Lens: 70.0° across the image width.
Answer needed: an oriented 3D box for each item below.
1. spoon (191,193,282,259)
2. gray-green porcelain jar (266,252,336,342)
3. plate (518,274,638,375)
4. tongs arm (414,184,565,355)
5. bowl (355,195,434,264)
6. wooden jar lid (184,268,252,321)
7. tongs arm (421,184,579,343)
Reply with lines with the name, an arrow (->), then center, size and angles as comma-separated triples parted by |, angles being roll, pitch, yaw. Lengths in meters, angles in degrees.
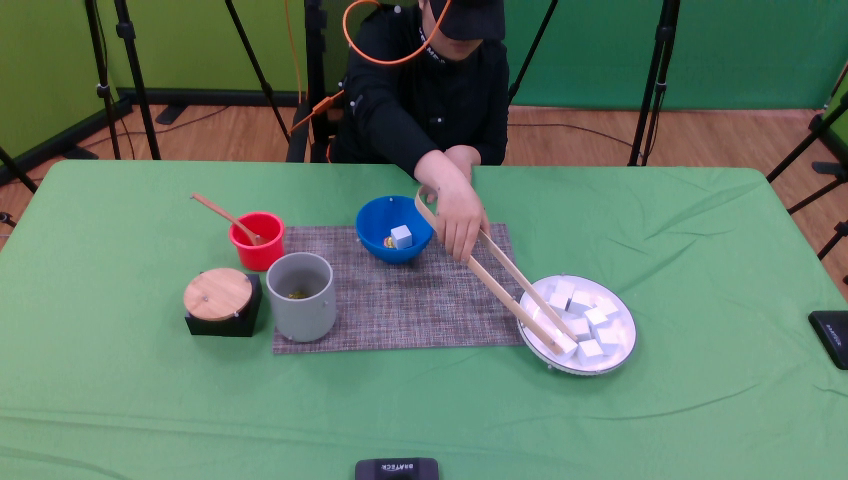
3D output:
spoon -> -0.342, -0.027, 1.115 | 0.194, 0.021, 0.041 | 43, 40, -24
gray-green porcelain jar -> -0.202, 0.100, 1.009 | 0.106, 0.127, 0.105 | 2, 46, -2
plate -> 0.264, 0.149, 1.060 | 0.209, 0.038, 0.208 | 3, 46, -3
tongs arm -> 0.110, 0.045, 1.058 | 0.051, 0.026, 0.383 | -35, 71, -33
bowl -> -0.056, -0.008, 1.158 | 0.151, 0.077, 0.150 | 2, 46, -2
wooden jar lid -> -0.343, 0.093, 1.015 | 0.108, 0.021, 0.107 | 3, 46, -3
tongs arm -> 0.130, 0.034, 1.073 | 0.028, 0.028, 0.386 | -33, 70, -28
